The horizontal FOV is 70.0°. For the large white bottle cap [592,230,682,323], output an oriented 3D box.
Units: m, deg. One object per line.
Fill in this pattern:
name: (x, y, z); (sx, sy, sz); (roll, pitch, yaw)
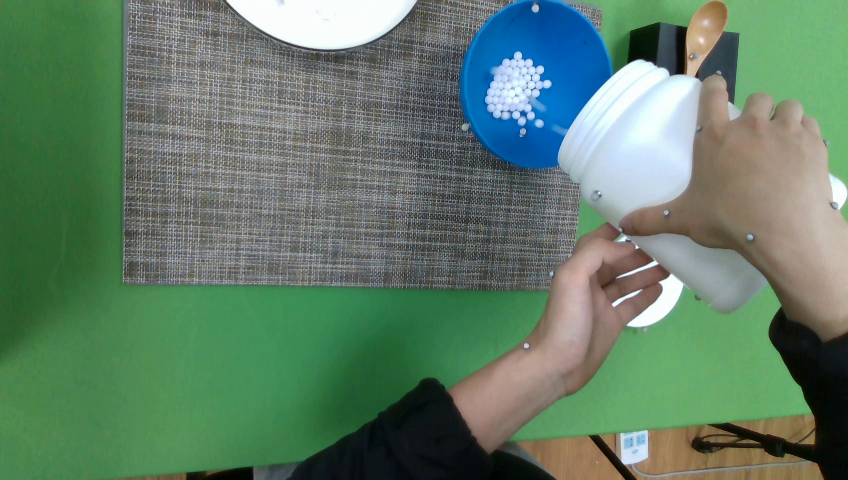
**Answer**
large white bottle cap: (0.246, 0.040, 0.696); (0.115, 0.018, 0.115); (-3, 100, -18)

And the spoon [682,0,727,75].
spoon: (0.261, -0.149, 0.621); (0.042, 0.021, 0.194); (15, 99, -22)

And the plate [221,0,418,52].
plate: (-0.095, -0.266, 0.525); (0.210, 0.038, 0.209); (-2, 96, -18)

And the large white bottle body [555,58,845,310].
large white bottle body: (0.210, -0.049, 0.486); (0.130, 0.131, 0.183); (-43, 70, -7)

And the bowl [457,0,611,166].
bowl: (0.094, -0.147, 0.582); (0.152, 0.076, 0.151); (-3, 99, -17)
